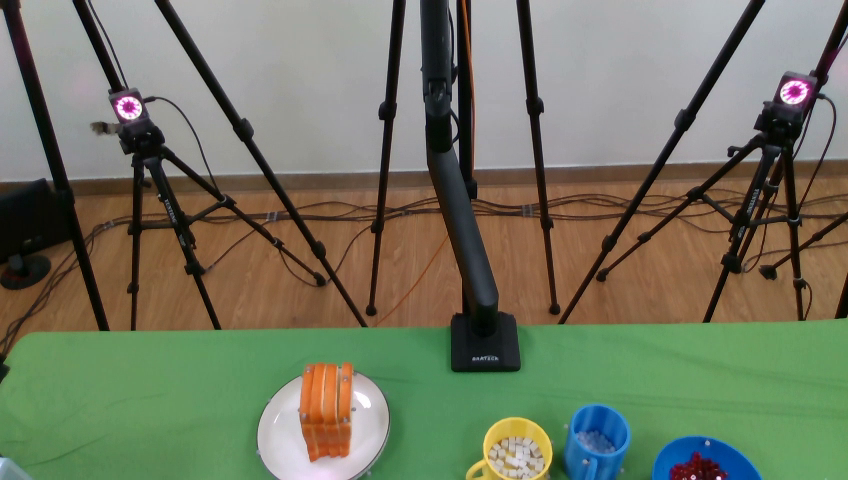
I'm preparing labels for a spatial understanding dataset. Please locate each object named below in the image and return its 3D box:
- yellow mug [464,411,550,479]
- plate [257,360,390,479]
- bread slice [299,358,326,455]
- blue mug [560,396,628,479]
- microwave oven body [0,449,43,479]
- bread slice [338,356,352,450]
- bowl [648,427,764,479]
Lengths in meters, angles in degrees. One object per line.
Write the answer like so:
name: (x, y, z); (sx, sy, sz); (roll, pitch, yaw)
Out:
yellow mug: (0.120, 0.318, 0.894); (0.131, 0.064, 0.099); (-18, 46, -12)
plate: (-0.157, 0.287, 0.961); (0.207, 0.039, 0.205); (-1, 45, 2)
bread slice: (-0.170, 0.245, 0.925); (0.018, 0.135, 0.106); (-2, 41, -1)
blue mug: (0.240, 0.302, 0.875); (0.082, 0.107, 0.116); (13, 48, 17)
microwave oven body: (-0.636, 0.476, 0.636); (0.326, 0.262, 0.437); (0, 46, 3)
bread slice: (-0.120, 0.244, 0.925); (0.019, 0.132, 0.104); (1, 47, -6)
bowl: (0.382, 0.347, 0.841); (0.151, 0.077, 0.150); (-2, 45, 2)
